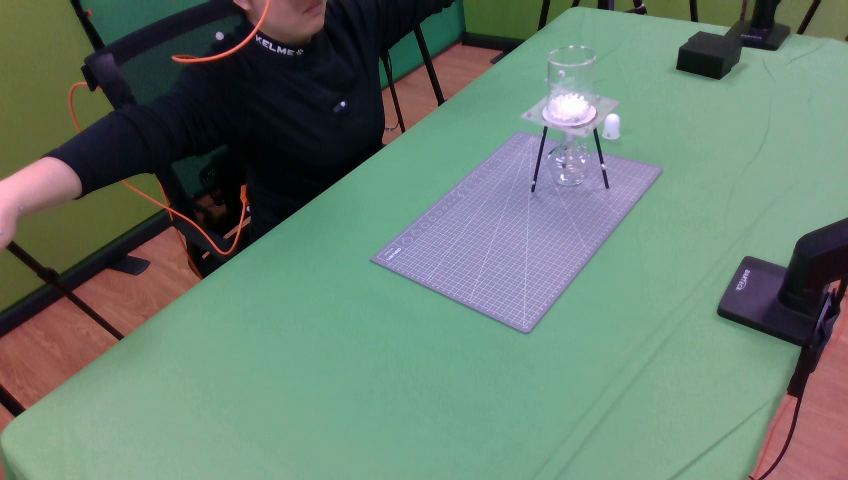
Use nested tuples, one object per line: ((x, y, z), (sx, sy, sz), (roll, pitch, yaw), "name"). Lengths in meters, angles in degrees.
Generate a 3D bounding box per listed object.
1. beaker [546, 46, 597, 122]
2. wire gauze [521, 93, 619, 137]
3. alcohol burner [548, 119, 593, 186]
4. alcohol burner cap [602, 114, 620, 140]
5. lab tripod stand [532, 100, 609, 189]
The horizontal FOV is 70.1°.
((0.229, -0.246, 0.962), (0.083, 0.101, 0.074), (25, 49, 34), "beaker")
((0.240, -0.212, 0.995), (0.124, 0.011, 0.122), (22, 46, 34), "wire gauze")
((0.252, -0.154, 1.042), (0.078, 0.120, 0.077), (-7, 40, 7), "alcohol burner")
((0.359, -0.217, 1.157), (0.034, 0.048, 0.033), (-7, 40, 6), "alcohol burner cap")
((0.251, -0.161, 1.034), (0.148, 0.132, 0.147), (-4, 39, 4), "lab tripod stand")
